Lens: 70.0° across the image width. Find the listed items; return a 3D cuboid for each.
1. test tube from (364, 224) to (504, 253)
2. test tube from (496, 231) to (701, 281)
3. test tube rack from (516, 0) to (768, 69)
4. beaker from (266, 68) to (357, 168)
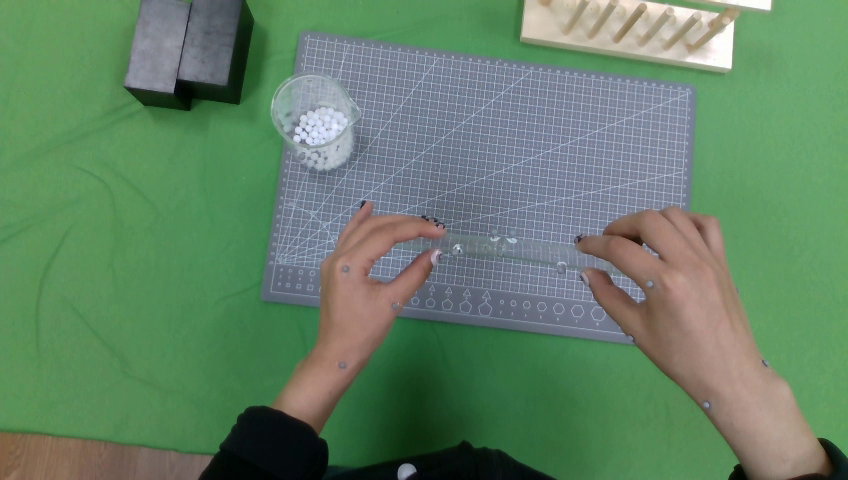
[{"bbox_3d":[0.002,-0.002,0.500,0.017,0.149,0.017,-6,98,-47],"label":"test tube"},{"bbox_3d":[0.128,0.012,0.446,0.150,0.017,0.017,8,82,2],"label":"test tube"},{"bbox_3d":[0.231,-0.251,0.657,0.242,0.085,0.066,8,82,-3],"label":"test tube rack"},{"bbox_3d":[-0.107,-0.117,0.607,0.084,0.100,0.074,-1,83,-4],"label":"beaker"}]
